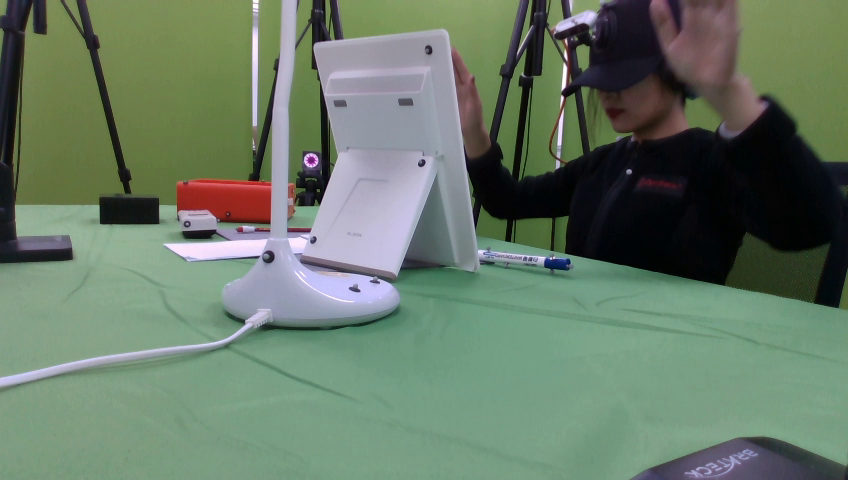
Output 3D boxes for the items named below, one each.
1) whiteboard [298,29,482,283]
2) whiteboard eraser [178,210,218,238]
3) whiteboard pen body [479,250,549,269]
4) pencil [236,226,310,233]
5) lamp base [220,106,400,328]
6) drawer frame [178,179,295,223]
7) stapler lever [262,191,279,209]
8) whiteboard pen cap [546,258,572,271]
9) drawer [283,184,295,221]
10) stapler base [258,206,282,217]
[{"bbox_3d":[-0.075,-0.082,0.742,0.216,0.305,0.144,9,29,37],"label":"whiteboard"},{"bbox_3d":[-0.380,-0.027,1.014,0.056,0.042,0.112,0,8,-25],"label":"whiteboard eraser"},{"bbox_3d":[0.130,0.028,0.827,0.140,0.017,0.017,6,8,38],"label":"whiteboard pen body"},{"bbox_3d":[-0.239,-0.017,1.093,0.195,0.012,0.012,1,7,-27],"label":"pencil"},{"bbox_3d":[-0.101,-0.023,0.531,0.160,0.180,0.179,4,10,10],"label":"lamp base"},{"bbox_3d":[-0.397,-0.088,1.315,0.214,0.082,0.201,1,8,-7],"label":"drawer frame"},{"bbox_3d":[-0.329,-0.085,1.306,0.027,0.040,0.118,9,2,-9],"label":"stapler lever"},{"bbox_3d":[0.176,0.032,0.790,0.033,0.018,0.018,3,6,38],"label":"whiteboard pen cap"},{"bbox_3d":[-0.394,-0.086,1.317,0.212,0.073,0.194,1,8,-7],"label":"drawer"},{"bbox_3d":[-0.331,-0.064,1.305,0.041,0.024,0.130,9,-2,-9],"label":"stapler base"}]
